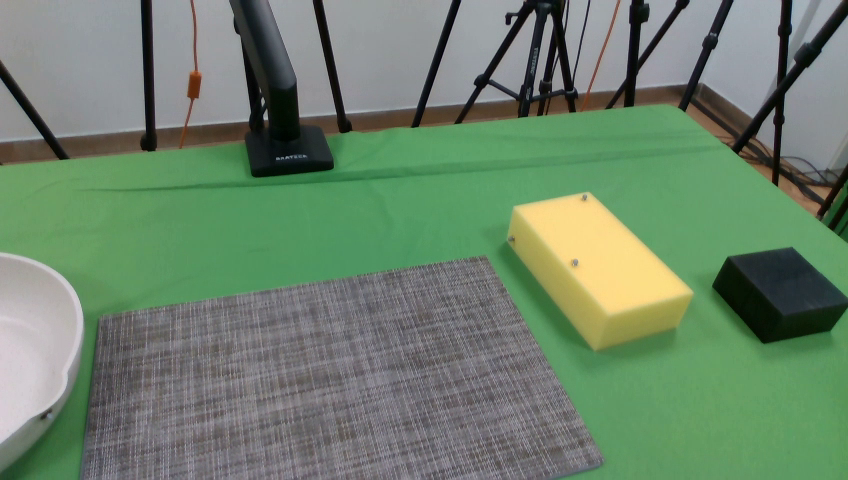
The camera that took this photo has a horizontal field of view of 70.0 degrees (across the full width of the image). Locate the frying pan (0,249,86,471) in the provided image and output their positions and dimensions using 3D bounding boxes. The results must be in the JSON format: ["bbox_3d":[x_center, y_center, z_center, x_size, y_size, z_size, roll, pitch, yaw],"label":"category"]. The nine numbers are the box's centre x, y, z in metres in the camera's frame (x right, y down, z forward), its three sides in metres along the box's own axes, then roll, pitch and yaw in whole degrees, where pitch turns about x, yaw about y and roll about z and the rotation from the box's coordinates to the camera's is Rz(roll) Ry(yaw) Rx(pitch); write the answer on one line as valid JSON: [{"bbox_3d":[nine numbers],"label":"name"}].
[{"bbox_3d":[-0.473,0.176,0.449,0.306,0.103,0.484,10,32,6],"label":"frying pan"}]

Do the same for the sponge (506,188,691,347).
[{"bbox_3d":[0.204,0.025,0.742,0.118,0.061,0.204,-12,43,-21],"label":"sponge"}]
